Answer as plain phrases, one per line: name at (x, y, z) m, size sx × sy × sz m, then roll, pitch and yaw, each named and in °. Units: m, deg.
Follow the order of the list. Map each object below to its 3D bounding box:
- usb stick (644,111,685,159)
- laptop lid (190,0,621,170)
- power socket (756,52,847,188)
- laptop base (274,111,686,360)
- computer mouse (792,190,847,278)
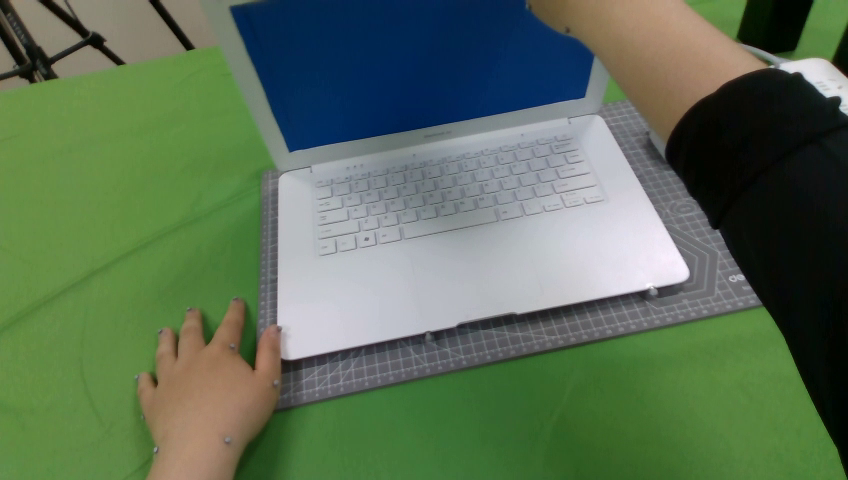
usb stick at (0.245, -0.113, 0.625) m, size 0.021 × 0.027 × 0.058 m, roll -14°, pitch 47°, yaw 1°
laptop lid at (0.003, -0.164, 0.555) m, size 0.357 × 0.244 × 0.013 m, roll -12°, pitch 61°, yaw 0°
power socket at (0.414, -0.117, 0.601) m, size 0.072 × 0.033 × 0.224 m, roll -11°, pitch 47°, yaw 0°
laptop base at (0.033, -0.017, 0.581) m, size 0.354 × 0.023 × 0.233 m, roll -12°, pitch 51°, yaw -2°
computer mouse at (0.368, -0.002, 0.503) m, size 0.063 × 0.041 × 0.116 m, roll -17°, pitch 45°, yaw -4°
